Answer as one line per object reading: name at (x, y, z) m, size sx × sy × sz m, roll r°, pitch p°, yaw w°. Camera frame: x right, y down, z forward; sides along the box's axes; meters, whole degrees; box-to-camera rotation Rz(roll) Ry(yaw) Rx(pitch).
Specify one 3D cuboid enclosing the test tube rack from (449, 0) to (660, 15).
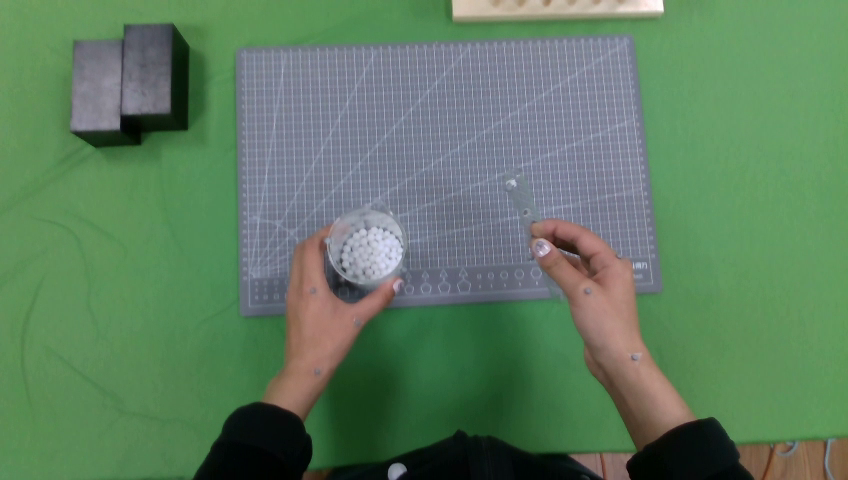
test tube rack at (0.149, -0.302, 0.662) m, size 0.242 × 0.085 × 0.066 m, roll -3°, pitch 81°, yaw -3°

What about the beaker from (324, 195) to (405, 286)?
beaker at (-0.055, 0.005, 0.599) m, size 0.074 × 0.100 × 0.083 m, roll 14°, pitch 80°, yaw 0°

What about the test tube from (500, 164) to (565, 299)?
test tube at (0.096, -0.002, 0.524) m, size 0.017 × 0.017 × 0.152 m, roll -33°, pitch 125°, yaw -7°
